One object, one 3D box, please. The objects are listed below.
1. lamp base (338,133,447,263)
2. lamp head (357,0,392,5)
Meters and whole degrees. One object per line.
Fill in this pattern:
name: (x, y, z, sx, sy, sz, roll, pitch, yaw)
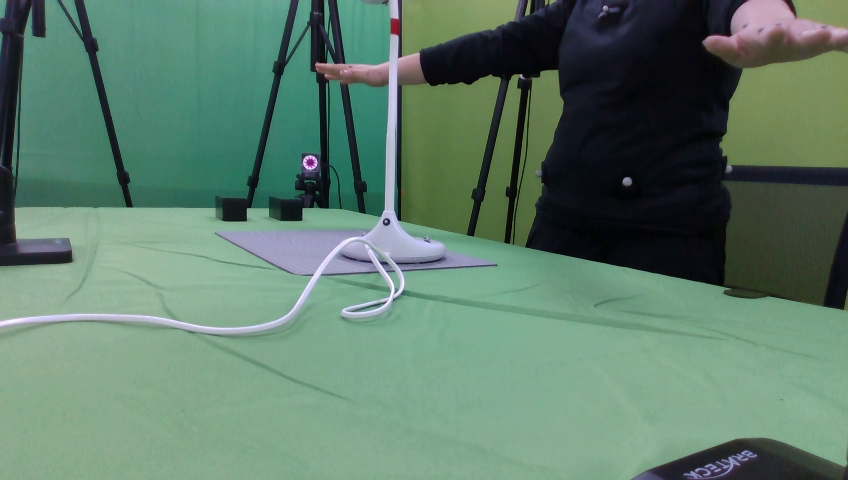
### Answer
lamp base: (-0.043, -0.062, 0.868, 0.161, 0.180, 0.179, 2, 10, -3)
lamp head: (-0.056, -0.383, 0.819, 0.113, 0.112, 0.122, 0, 13, -22)
